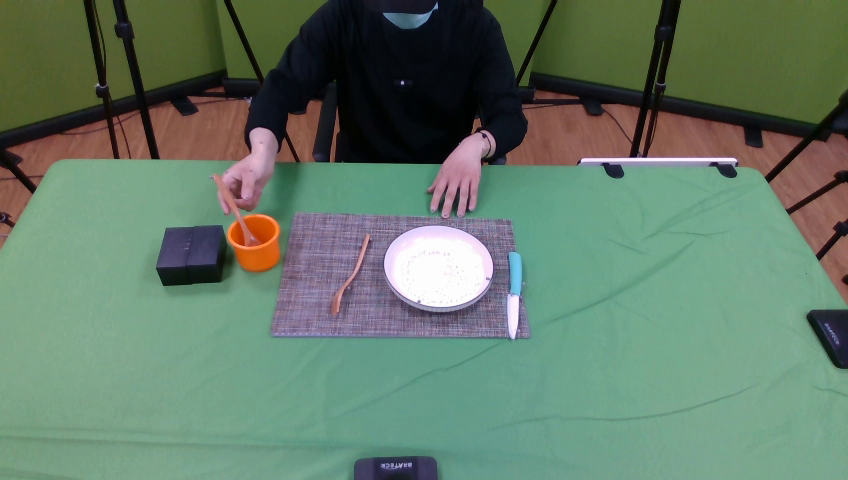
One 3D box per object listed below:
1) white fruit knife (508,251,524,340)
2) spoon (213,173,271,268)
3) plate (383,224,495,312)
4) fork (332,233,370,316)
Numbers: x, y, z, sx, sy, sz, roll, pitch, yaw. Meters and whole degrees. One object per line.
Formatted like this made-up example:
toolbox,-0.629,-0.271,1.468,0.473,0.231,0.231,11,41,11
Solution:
white fruit knife,0.169,0.098,1.113,0.027,0.016,0.206,-13,43,23
spoon,-0.339,-0.036,1.119,0.041,0.194,0.021,-29,10,-26
plate,0.026,0.055,1.128,0.209,0.038,0.208,2,46,-2
fork,-0.133,0.058,1.127,0.019,0.028,0.206,35,44,-12
